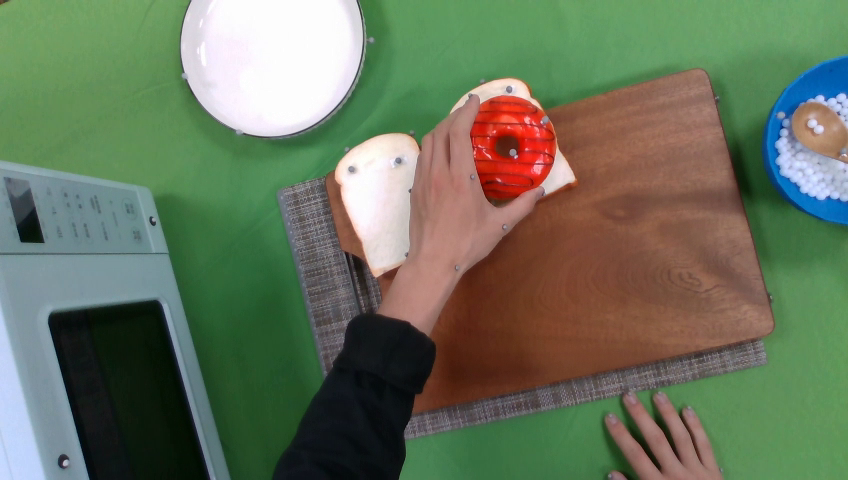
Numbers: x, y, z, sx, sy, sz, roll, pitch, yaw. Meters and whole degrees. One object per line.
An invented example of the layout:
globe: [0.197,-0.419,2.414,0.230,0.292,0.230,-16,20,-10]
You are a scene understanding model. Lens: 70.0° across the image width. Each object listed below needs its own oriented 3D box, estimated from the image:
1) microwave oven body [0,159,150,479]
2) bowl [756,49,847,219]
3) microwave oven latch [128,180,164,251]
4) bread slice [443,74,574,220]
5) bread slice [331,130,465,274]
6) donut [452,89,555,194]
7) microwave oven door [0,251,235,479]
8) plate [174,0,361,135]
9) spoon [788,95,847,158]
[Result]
microwave oven body: [-0.417,0.187,0.582,0.326,0.260,0.441,-17,88,7]
bowl: [0.380,-0.092,0.565,0.151,0.077,0.151,0,90,8]
microwave oven latch: [-0.313,-0.024,0.664,0.030,0.029,0.079,-16,89,7]
bread slice: [0.076,-0.098,0.608,0.105,0.019,0.131,-24,86,6]
bread slice: [-0.035,-0.044,0.623,0.107,0.018,0.134,-29,85,6]
donut: [0.075,-0.093,0.577,0.099,0.048,0.099,0,93,10]
microwave oven door: [-0.267,0.184,0.556,0.039,0.244,0.355,-17,88,8]
plate: [-0.168,-0.216,0.661,0.207,0.039,0.207,0,90,8]
spoon: [0.400,-0.057,0.531,0.041,0.022,0.192,-41,67,10]
